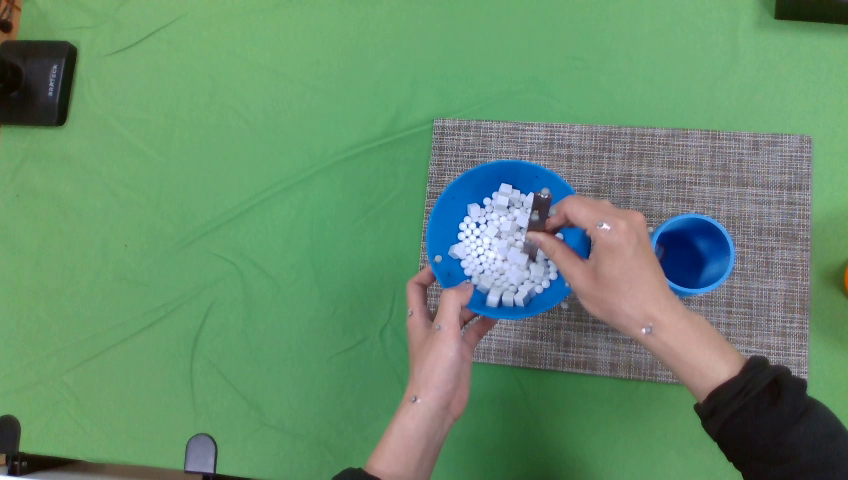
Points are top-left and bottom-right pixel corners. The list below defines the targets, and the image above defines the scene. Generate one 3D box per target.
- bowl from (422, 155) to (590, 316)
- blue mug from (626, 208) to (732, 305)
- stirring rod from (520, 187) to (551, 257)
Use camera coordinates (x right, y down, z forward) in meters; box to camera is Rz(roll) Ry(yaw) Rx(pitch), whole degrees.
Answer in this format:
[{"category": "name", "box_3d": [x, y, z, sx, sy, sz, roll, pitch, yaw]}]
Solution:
[{"category": "bowl", "box_3d": [0.079, 0.002, 0.581, 0.151, 0.077, 0.150, -2, 77, 7]}, {"category": "blue mug", "box_3d": [0.263, 0.027, 0.661, 0.082, 0.106, 0.116, 43, 89, 11]}, {"category": "stirring rod", "box_3d": [0.092, -0.011, 0.510, 0.014, 0.177, 0.006, 6, 74, 8]}]
